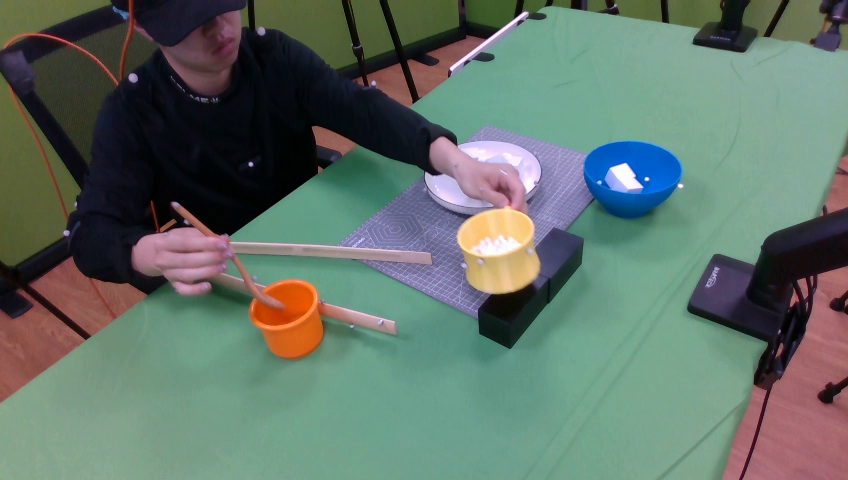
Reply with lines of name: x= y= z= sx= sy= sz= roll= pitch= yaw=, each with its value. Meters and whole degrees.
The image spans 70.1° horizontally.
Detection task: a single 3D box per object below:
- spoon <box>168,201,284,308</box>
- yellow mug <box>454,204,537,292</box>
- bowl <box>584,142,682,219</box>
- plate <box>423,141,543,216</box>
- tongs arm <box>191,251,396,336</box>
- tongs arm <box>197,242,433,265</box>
spoon: x=-0.245 y=0.022 z=0.757 sx=0.021 sy=0.195 sz=0.041 roll=-40 pitch=25 yaw=-10
yellow mug: x=0.099 y=0.001 z=0.799 sx=0.099 sy=0.064 sz=0.131 roll=2 pitch=39 yaw=22
bowl: x=0.333 y=-0.087 z=0.980 sx=0.151 sy=0.077 sz=0.150 roll=-4 pitch=40 yaw=3
plate: x=0.103 y=-0.103 z=1.059 sx=0.207 sy=0.039 sz=0.206 roll=-4 pitch=40 yaw=4
tongs arm: x=-0.204 y=0.074 z=0.902 sx=0.382 sy=0.026 sz=0.051 roll=11 pitch=44 yaw=22
tongs arm: x=-0.177 y=0.024 z=0.960 sx=0.386 sy=0.028 sz=0.028 roll=2 pitch=45 yaw=12
